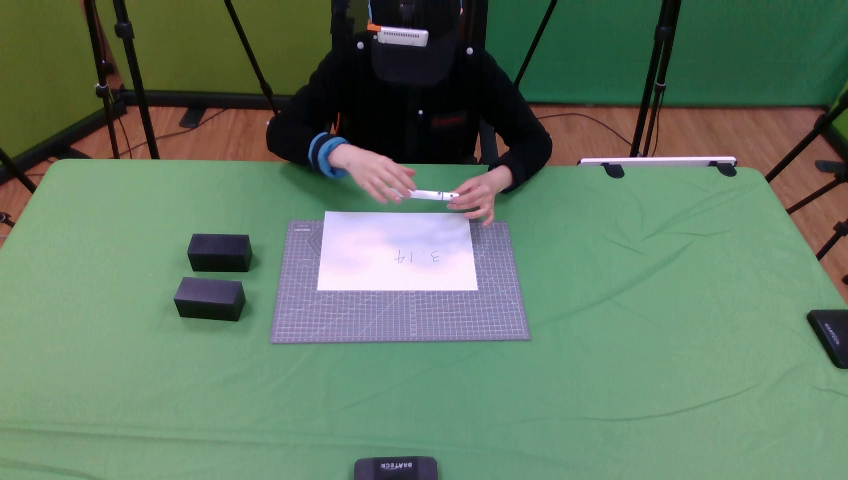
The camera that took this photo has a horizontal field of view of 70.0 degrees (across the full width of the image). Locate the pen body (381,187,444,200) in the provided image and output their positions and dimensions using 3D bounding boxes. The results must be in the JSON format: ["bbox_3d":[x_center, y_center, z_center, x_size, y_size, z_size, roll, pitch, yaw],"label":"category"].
[{"bbox_3d":[-0.011,-0.089,1.172,0.144,0.017,0.017,4,46,-10],"label":"pen body"}]

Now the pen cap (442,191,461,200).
[{"bbox_3d":[0.052,-0.087,1.183,0.038,0.017,0.017,4,46,-9],"label":"pen cap"}]
